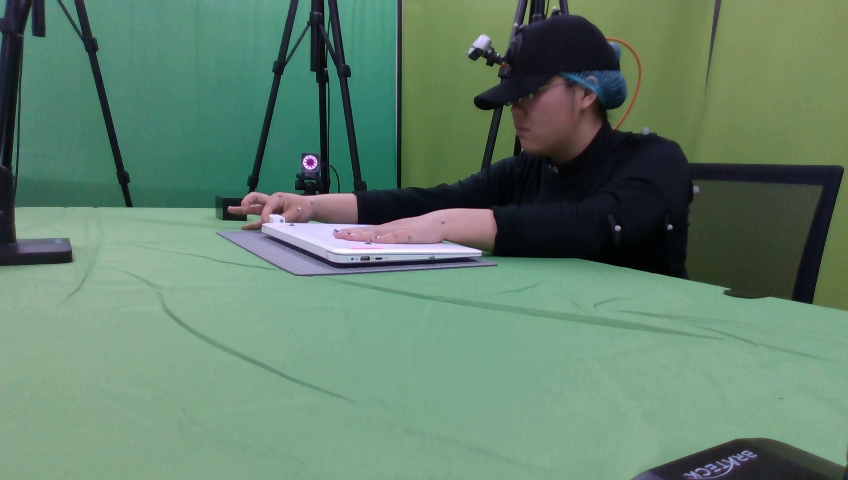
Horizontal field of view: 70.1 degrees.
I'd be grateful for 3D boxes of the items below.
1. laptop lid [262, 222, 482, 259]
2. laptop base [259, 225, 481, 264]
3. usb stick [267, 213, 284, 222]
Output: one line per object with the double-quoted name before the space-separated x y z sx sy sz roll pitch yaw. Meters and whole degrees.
"laptop lid" -0.098 -0.003 0.964 0.243 0.013 0.355 2 7 -29
"laptop base" -0.101 0.007 0.964 0.237 0.023 0.352 3 6 -31
"usb stick" -0.266 -0.031 1.087 0.021 0.027 0.059 -4 18 -26
